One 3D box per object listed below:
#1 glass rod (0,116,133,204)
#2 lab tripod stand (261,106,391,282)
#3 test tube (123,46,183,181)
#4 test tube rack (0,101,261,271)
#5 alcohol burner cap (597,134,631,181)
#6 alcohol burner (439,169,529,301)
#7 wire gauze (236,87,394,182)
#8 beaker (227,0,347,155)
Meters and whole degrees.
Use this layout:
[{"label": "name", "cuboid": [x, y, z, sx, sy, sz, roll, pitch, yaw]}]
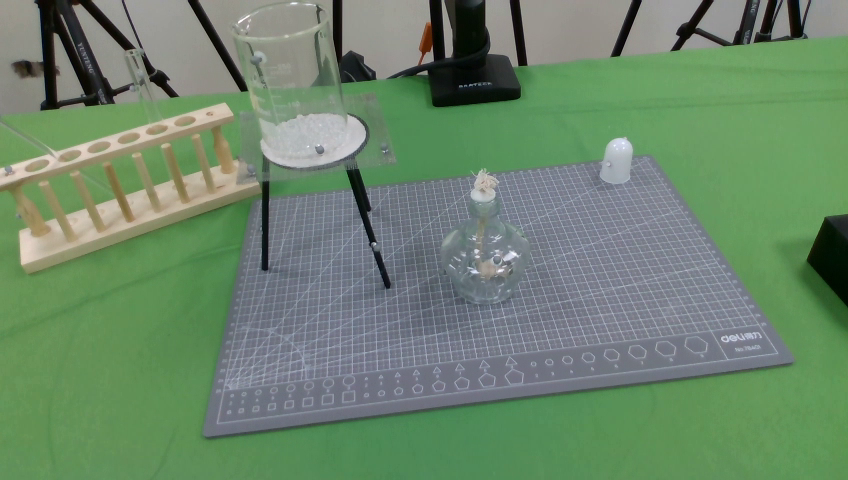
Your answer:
[{"label": "glass rod", "cuboid": [-0.368, -0.089, 0.588, 0.008, 0.202, 0.008, -19, 51, 25]}, {"label": "lab tripod stand", "cuboid": [-0.089, -0.040, 0.546, 0.148, 0.133, 0.147, -3, 43, 3]}, {"label": "test tube", "cuboid": [-0.280, -0.127, 0.632, 0.017, 0.151, 0.017, -2, 38, 2]}, {"label": "test tube rack", "cuboid": [-0.307, -0.062, 0.636, 0.243, 0.086, 0.066, -23, 44, -20]}, {"label": "alcohol burner cap", "cuboid": [0.204, -0.091, 0.646, 0.034, 0.048, 0.033, -3, 41, 3]}, {"label": "alcohol burner", "cuboid": [0.050, -0.007, 0.509, 0.078, 0.120, 0.077, -3, 39, 3]}, {"label": "wire gauze", "cuboid": [-0.094, -0.089, 0.503, 0.125, 0.011, 0.120, -12, 39, -4]}, {"label": "beaker", "cuboid": [-0.103, -0.124, 0.470, 0.083, 0.101, 0.073, 14, 44, 23]}]
